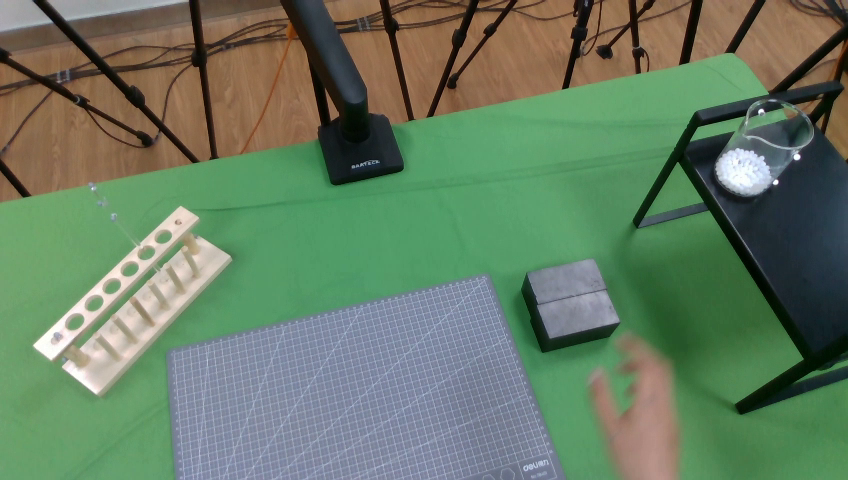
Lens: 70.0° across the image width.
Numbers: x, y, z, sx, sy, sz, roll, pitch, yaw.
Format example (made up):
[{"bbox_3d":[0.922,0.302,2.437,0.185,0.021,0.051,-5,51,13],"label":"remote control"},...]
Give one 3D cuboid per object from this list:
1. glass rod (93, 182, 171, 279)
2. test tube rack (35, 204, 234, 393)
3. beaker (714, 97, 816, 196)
[{"bbox_3d":[-0.364,-0.005,0.764,0.008,0.201,0.008,-2,54,4],"label":"glass rod"},{"bbox_3d":[-0.368,0.073,0.795,0.066,0.086,0.241,30,63,16],"label":"test tube rack"},{"bbox_3d":[0.394,-0.105,0.715,0.084,0.101,0.073,-15,60,-10],"label":"beaker"}]
